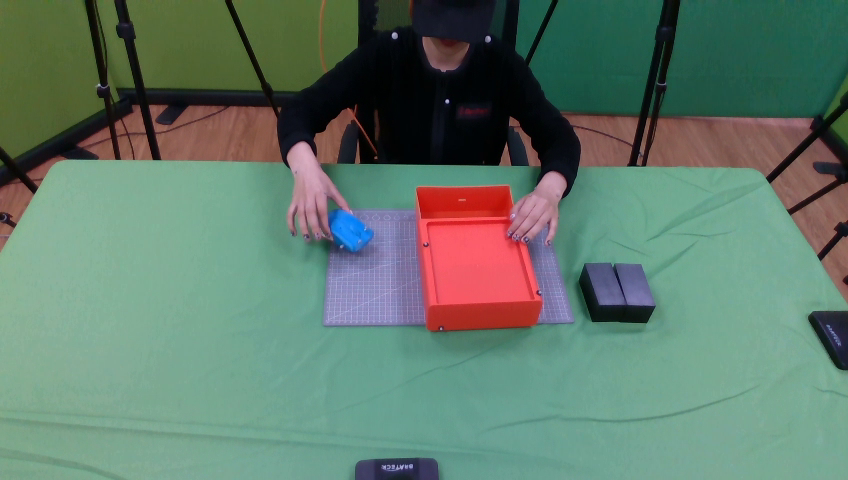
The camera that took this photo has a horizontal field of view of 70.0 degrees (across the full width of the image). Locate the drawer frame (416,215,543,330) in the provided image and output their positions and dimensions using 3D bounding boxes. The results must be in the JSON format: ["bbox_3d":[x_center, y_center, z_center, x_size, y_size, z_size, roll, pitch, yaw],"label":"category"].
[{"bbox_3d":[0.094,0.054,1.108,0.202,0.083,0.212,-2,47,-7],"label":"drawer frame"}]

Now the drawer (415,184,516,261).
[{"bbox_3d":[0.086,-0.015,1.175,0.195,0.073,0.210,-1,46,-6],"label":"drawer"}]

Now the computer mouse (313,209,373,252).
[{"bbox_3d":[-0.157,-0.021,1.168,0.116,0.041,0.063,29,50,26],"label":"computer mouse"}]
